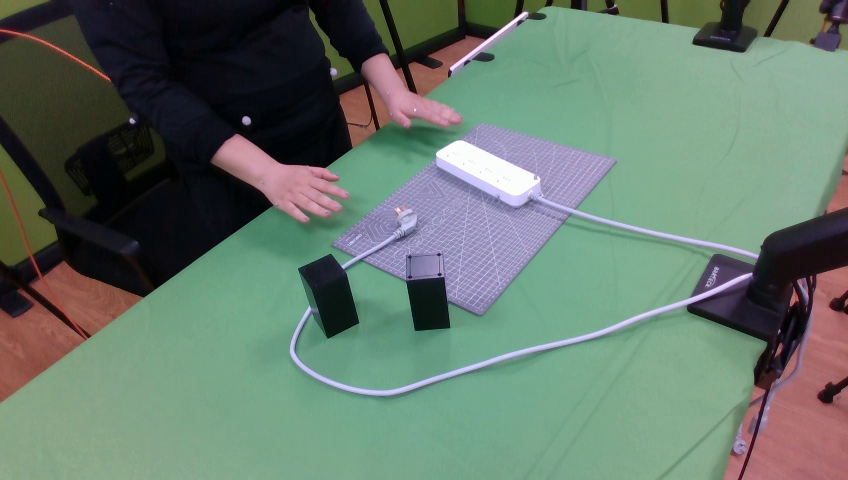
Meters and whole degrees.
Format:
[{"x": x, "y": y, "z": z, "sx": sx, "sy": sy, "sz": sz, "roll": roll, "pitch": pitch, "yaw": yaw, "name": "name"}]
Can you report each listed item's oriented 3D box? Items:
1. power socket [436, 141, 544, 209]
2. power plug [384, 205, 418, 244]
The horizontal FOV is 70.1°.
[{"x": 0.111, "y": -0.120, "z": 1.082, "sx": 0.072, "sy": 0.033, "sz": 0.224, "roll": -34, "pitch": 47, "yaw": -27, "name": "power socket"}, {"x": -0.043, "y": -0.030, "z": 0.991, "sx": 0.073, "sy": 0.035, "sz": 0.052, "roll": -20, "pitch": 58, "yaw": -31, "name": "power plug"}]
